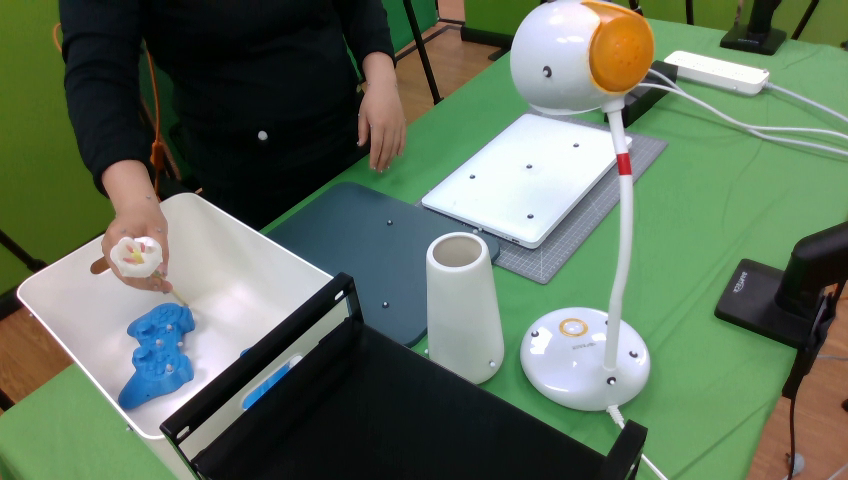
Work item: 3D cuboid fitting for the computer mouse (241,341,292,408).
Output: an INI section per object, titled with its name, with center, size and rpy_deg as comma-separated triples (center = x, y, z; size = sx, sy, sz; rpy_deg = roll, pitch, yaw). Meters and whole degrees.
[computer mouse]
center = -0.201, 0.177, 0.775
size = 0.063, 0.041, 0.116
rpy_deg = -11, 44, -8

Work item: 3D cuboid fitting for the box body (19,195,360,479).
[box body]
center = -0.288, 0.118, 0.772
size = 0.361, 0.161, 0.255
rpy_deg = 26, 50, 33

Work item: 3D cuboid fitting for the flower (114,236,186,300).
[flower]
center = -0.316, 0.049, 0.740
size = 0.044, 0.361, 0.038
rpy_deg = -15, 82, -18

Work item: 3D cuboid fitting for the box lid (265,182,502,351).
[box lid]
center = -0.087, 0.023, 0.971
size = 0.368, 0.015, 0.264
rpy_deg = 23, 49, 31

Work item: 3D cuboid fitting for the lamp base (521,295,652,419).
[lamp base]
center = 0.201, 0.095, 0.710
size = 0.161, 0.181, 0.178
rpy_deg = -16, 43, -10

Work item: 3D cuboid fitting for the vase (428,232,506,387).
[vase]
center = 0.050, 0.087, 0.728
size = 0.098, 0.201, 0.097
rpy_deg = -3, 40, 3

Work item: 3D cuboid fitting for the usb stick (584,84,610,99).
[usb stick]
center = 0.353, -0.306, 1.252
size = 0.027, 0.021, 0.058
rpy_deg = -2, 1, -39

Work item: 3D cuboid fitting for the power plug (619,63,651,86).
[power plug]
center = 0.435, -0.341, 1.266
size = 0.035, 0.053, 0.072
rpy_deg = 5, 31, -14

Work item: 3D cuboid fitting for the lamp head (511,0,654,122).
[lamp head]
center = 0.155, -0.168, 0.563
size = 0.113, 0.113, 0.122
rpy_deg = -18, 23, -12

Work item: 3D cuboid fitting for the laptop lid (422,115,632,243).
[laptop lid]
center = 0.189, -0.126, 1.081
size = 0.239, 0.013, 0.358
rpy_deg = 23, 48, 35

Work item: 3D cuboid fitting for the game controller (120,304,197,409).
[game controller]
center = -0.364, 0.149, 0.828
size = 0.097, 0.052, 0.154
rpy_deg = -13, 41, -9

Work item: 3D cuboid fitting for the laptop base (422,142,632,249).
[laptop base]
center = 0.192, -0.117, 1.087
size = 0.233, 0.023, 0.355
rpy_deg = 21, 47, 34

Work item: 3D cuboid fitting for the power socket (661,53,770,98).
[power socket]
center = 0.617, -0.355, 1.292
size = 0.225, 0.033, 0.072
rpy_deg = 29, 53, 35
